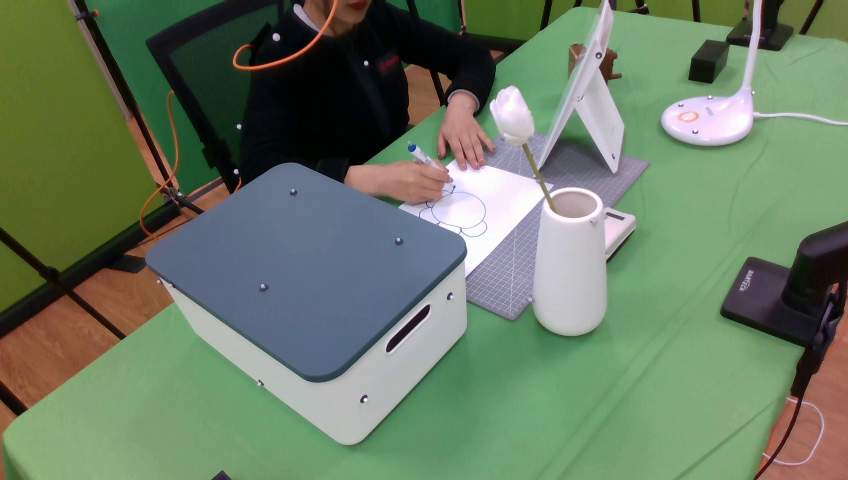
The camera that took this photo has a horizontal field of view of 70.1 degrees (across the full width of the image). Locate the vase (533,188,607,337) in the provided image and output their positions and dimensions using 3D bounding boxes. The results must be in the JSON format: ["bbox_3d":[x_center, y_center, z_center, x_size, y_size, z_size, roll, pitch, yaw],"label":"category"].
[{"bbox_3d":[0.187,0.033,0.771,0.098,0.201,0.097,-6,41,6],"label":"vase"}]

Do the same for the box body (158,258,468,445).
[{"bbox_3d":[-0.147,0.072,0.816,0.361,0.161,0.255,24,50,33],"label":"box body"}]

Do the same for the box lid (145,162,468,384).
[{"bbox_3d":[-0.157,0.014,0.769,0.368,0.015,0.264,25,51,33],"label":"box lid"}]

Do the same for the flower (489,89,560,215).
[{"bbox_3d":[0.159,-0.028,0.720,0.038,0.364,0.044,-15,44,23],"label":"flower"}]

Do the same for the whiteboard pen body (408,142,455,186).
[{"bbox_3d":[0.017,-0.128,1.048,0.017,0.142,0.017,-18,56,29],"label":"whiteboard pen body"}]

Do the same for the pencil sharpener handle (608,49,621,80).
[{"bbox_3d":[0.394,-0.368,1.253,0.030,0.068,0.036,-9,32,1],"label":"pencil sharpener handle"}]

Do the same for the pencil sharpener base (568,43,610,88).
[{"bbox_3d":[0.345,-0.352,1.263,0.077,0.107,0.061,-9,40,1],"label":"pencil sharpener base"}]

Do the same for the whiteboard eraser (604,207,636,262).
[{"bbox_3d":[0.272,-0.003,0.919,0.055,0.042,0.113,27,51,32],"label":"whiteboard eraser"}]

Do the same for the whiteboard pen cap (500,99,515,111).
[{"bbox_3d":[0.177,-0.287,1.290,0.033,0.018,0.018,-37,47,-26],"label":"whiteboard pen cap"}]

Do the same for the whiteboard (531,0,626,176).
[{"bbox_3d":[0.320,-0.259,1.050,0.144,0.306,0.217,22,45,6],"label":"whiteboard"}]

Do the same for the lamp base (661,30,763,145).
[{"bbox_3d":[0.535,-0.287,1.096,0.179,0.181,0.159,-10,40,-4],"label":"lamp base"}]
